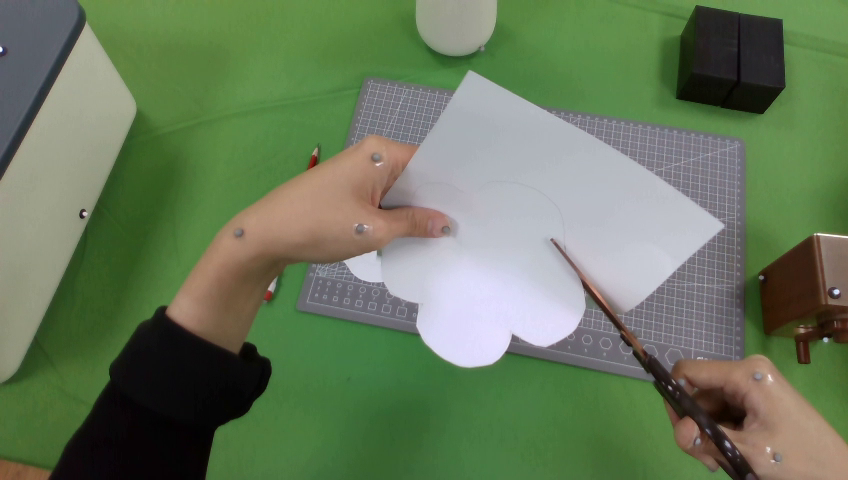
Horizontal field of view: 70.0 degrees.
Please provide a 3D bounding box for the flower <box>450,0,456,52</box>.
[{"bbox_3d":[0.029,-0.349,0.597,0.044,0.365,0.038,4,50,5],"label":"flower"}]

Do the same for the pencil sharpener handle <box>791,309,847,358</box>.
[{"bbox_3d":[0.361,0.086,0.546,0.036,0.068,0.030,11,67,-10],"label":"pencil sharpener handle"}]

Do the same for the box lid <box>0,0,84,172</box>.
[{"bbox_3d":[-0.480,-0.094,0.519,0.263,0.015,0.369,11,68,4],"label":"box lid"}]

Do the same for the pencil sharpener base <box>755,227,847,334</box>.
[{"bbox_3d":[0.371,0.045,0.576,0.061,0.108,0.076,6,68,3],"label":"pencil sharpener base"}]

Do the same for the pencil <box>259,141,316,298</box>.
[{"bbox_3d":[-0.145,-0.028,0.658,0.012,0.012,0.193,11,67,5],"label":"pencil"}]

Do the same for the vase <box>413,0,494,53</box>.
[{"bbox_3d":[0.034,-0.303,0.669,0.098,0.201,0.097,0,66,1],"label":"vase"}]

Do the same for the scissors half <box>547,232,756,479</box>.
[{"bbox_3d":[0.126,0.064,0.342,0.013,0.040,0.174,-37,79,0],"label":"scissors half"}]

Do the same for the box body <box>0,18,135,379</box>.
[{"bbox_3d":[-0.480,-0.062,0.587,0.254,0.161,0.361,10,68,4],"label":"box body"}]

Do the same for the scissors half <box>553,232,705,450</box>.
[{"bbox_3d":[0.126,0.062,0.365,0.013,0.040,0.176,-37,108,5],"label":"scissors half"}]
